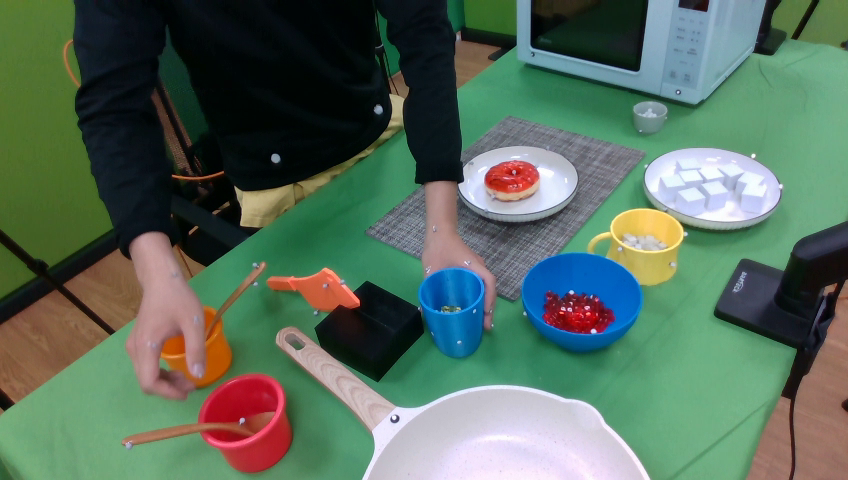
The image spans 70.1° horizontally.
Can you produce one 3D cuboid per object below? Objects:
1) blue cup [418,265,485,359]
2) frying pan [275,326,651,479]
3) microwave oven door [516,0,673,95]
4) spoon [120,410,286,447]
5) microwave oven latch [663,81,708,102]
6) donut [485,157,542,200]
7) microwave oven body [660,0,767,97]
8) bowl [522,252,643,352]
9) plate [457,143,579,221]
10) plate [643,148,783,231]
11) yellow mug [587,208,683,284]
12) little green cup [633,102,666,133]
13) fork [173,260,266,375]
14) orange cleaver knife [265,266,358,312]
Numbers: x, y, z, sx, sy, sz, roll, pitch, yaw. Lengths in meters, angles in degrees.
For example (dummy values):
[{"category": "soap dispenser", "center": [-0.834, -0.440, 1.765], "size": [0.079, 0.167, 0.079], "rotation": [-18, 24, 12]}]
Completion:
[{"category": "blue cup", "center": [0.041, 0.101, 0.789], "size": [0.092, 0.100, 0.092], "rotation": [-5, 39, 5]}, {"category": "frying pan", "center": [0.004, 0.229, 0.641], "size": [0.484, 0.103, 0.308], "rotation": [34, 54, 28]}, {"category": "microwave oven door", "center": [0.344, -0.458, 1.255], "size": [0.353, 0.245, 0.039], "rotation": [26, 51, 33]}, {"category": "spoon", "center": [-0.236, 0.207, 0.669], "size": [0.041, 0.021, 0.195], "rotation": [33, 12, 38]}, {"category": "microwave oven latch", "center": [0.519, -0.299, 1.203], "size": [0.030, 0.029, 0.078], "rotation": [-37, 48, -28]}, {"category": "donut", "center": [0.153, -0.108, 1.039], "size": [0.099, 0.048, 0.098], "rotation": [-6, 37, 5]}, {"category": "microwave oven body", "center": [0.473, -0.516, 1.313], "size": [0.438, 0.261, 0.327], "rotation": [26, 51, 34]}, {"category": "bowl", "center": [0.204, 0.093, 0.792], "size": [0.151, 0.077, 0.150], "rotation": [-4, 40, 4]}, {"category": "plate", "center": [0.161, -0.097, 1.042], "size": [0.209, 0.038, 0.208], "rotation": [-4, 40, 4]}, {"category": "plate", "center": [0.464, -0.079, 0.985], "size": [0.207, 0.039, 0.206], "rotation": [-4, 40, 4]}, {"category": "yellow mug", "center": [0.305, 0.009, 0.884], "size": [0.131, 0.064, 0.099], "rotation": [-4, 41, 5]}, {"category": "little green cup", "center": [0.434, -0.237, 1.171], "size": [0.061, 0.039, 0.061], "rotation": [-5, 40, 5]}, {"category": "fork", "center": [-0.269, 0.102, 0.791], "size": [0.207, 0.019, 0.028], "rotation": [-50, 39, 16]}, {"category": "orange cleaver knife", "center": [-0.164, 0.073, 0.864], "size": [0.210, 0.077, 0.012], "rotation": [-6, 31, 50]}]
